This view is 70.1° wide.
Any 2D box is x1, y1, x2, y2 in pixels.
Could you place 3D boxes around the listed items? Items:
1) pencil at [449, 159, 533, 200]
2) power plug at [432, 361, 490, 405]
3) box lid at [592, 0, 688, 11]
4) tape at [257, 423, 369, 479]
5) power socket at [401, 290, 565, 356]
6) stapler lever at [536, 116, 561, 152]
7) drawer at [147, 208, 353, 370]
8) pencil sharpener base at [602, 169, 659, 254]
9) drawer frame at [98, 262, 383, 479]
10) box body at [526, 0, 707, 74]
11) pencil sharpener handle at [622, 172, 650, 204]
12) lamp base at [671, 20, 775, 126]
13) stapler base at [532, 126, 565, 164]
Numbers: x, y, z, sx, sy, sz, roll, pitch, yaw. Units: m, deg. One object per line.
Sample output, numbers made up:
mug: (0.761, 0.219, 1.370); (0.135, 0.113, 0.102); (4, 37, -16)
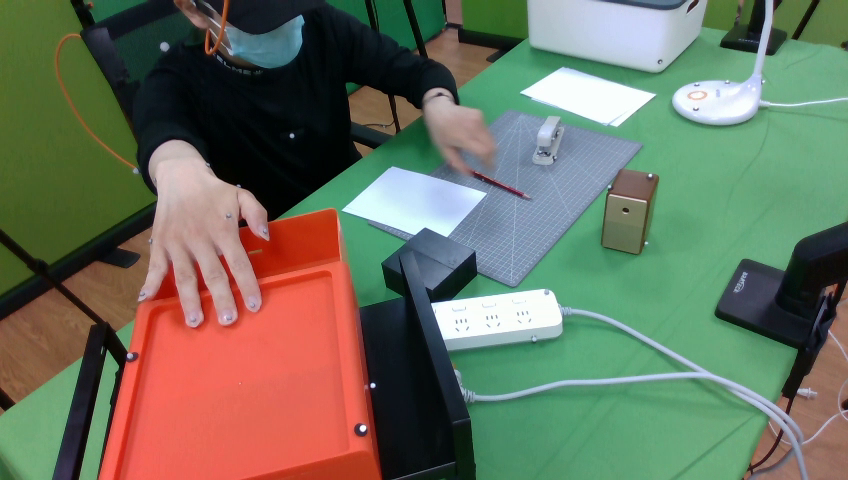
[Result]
pencil: (0.117, -0.110, 1.091); (0.192, 0.012, 0.012); (30, 53, 34)
power plug: (0.044, 0.182, 0.759); (0.073, 0.035, 0.052); (26, 40, -19)
box lid: (0.441, -0.596, 1.383); (0.368, 0.015, 0.264); (24, 49, 31)
tape: (-0.120, 0.262, 0.659); (0.117, 0.053, 0.116); (-4, 40, 4)
power socket: (0.080, 0.112, 0.822); (0.227, 0.033, 0.072); (-6, 41, 0)
stapler lever: (0.236, -0.209, 1.141); (0.026, 0.040, 0.118); (10, 43, 18)
drawer: (-0.167, 0.073, 0.590); (0.195, 0.073, 0.210); (-11, 41, -5)
pencil sharpener base: (0.312, -0.044, 0.913); (0.061, 0.107, 0.077); (14, 45, 24)
drawer frame: (-0.148, 0.129, 0.520); (0.202, 0.083, 0.212); (-12, 41, -6)
box body: (0.450, -0.540, 1.430); (0.361, 0.161, 0.255); (24, 50, 31)
pencil sharpener handle: (0.328, -0.086, 0.940); (0.036, 0.068, 0.030); (30, 49, 8)
lamp base: (0.582, -0.332, 1.153); (0.179, 0.181, 0.160); (2, 41, 7)
stapler base: (0.238, -0.189, 1.155); (0.041, 0.024, 0.130); (10, 42, 18)
